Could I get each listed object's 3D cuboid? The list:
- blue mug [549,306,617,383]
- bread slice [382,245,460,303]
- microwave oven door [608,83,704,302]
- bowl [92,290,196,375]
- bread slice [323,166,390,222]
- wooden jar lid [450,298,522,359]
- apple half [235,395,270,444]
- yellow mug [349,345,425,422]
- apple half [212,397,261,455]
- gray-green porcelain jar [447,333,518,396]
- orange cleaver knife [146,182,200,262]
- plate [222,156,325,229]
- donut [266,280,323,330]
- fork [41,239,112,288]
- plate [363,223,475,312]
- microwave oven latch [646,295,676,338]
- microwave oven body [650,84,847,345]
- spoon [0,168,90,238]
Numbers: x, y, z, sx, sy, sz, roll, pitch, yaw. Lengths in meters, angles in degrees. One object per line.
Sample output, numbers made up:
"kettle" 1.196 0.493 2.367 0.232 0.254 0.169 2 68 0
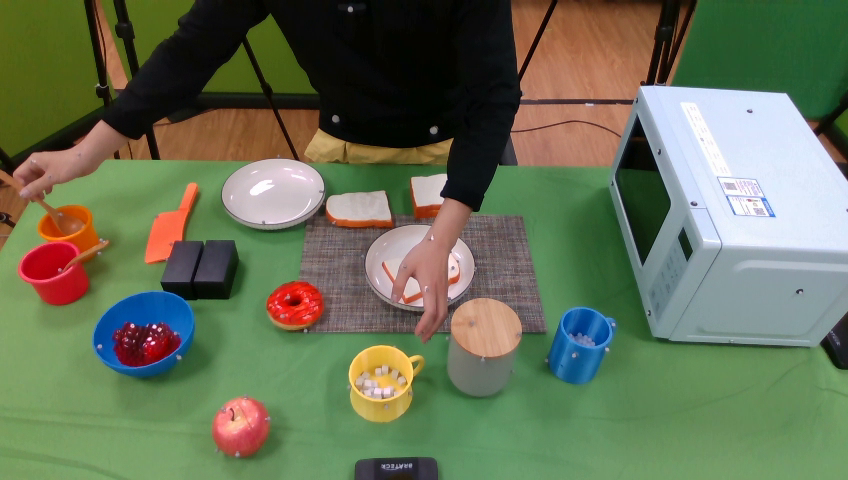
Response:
"blue mug" 0.269 0.167 0.997 0.116 0.106 0.082 -19 51 -21
"bread slice" 0.000 0.054 1.129 0.132 0.019 0.104 -20 52 -20
"microwave oven door" 0.424 -0.096 1.138 0.039 0.245 0.353 2 47 -1
"bowl" -0.436 0.161 0.971 0.151 0.077 0.150 2 46 -2
"bread slice" -0.140 -0.092 1.224 0.134 0.018 0.106 -19 51 6
"wooden jar lid" 0.093 0.135 0.914 0.108 0.021 0.107 3 48 -3
"apple half" -0.245 0.260 0.893 0.033 0.082 0.081 -29 55 -21
"yellow mug" -0.054 0.217 0.954 0.131 0.064 0.099 -24 52 -25
"apple half" -0.276 0.276 0.877 0.053 0.075 0.080 -29 58 -21
"gray-green porcelain jar" 0.091 0.178 0.959 0.106 0.127 0.105 2 47 -2
"orange cleaver knife" -0.494 -0.039 1.199 0.077 0.012 0.210 -3 48 2
"plate" -0.308 -0.095 1.251 0.209 0.038 0.208 3 47 -3
"donut" -0.223 0.113 1.051 0.099 0.048 0.098 2 46 -2
"fork" -0.591 0.040 1.028 0.207 0.019 0.028 -27 37 29
"plate" -0.010 0.054 1.127 0.208 0.039 0.206 2 46 -2
"microwave oven latch" 0.413 0.133 1.060 0.030 0.029 0.078 4 46 1
"microwave oven body" 0.569 -0.054 1.116 0.326 0.261 0.439 2 46 -1
"spoon" -0.679 -0.069 1.070 0.021 0.195 0.041 -3 50 34
